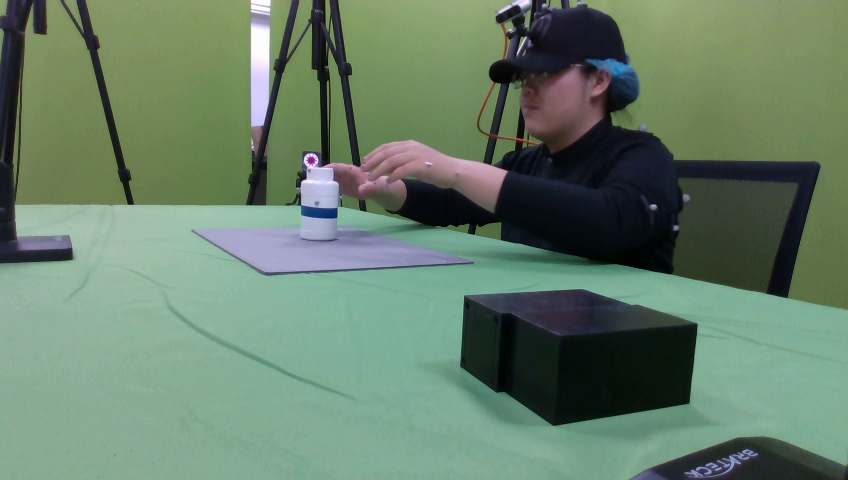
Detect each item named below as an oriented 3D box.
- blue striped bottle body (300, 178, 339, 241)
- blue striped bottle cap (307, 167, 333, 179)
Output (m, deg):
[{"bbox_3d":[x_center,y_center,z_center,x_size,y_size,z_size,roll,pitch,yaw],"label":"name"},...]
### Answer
[{"bbox_3d":[-0.176,-0.062,1.018,0.063,0.120,0.063,3,7,0],"label":"blue striped bottle body"},{"bbox_3d":[-0.174,-0.112,1.011,0.044,0.020,0.044,3,6,0],"label":"blue striped bottle cap"}]
